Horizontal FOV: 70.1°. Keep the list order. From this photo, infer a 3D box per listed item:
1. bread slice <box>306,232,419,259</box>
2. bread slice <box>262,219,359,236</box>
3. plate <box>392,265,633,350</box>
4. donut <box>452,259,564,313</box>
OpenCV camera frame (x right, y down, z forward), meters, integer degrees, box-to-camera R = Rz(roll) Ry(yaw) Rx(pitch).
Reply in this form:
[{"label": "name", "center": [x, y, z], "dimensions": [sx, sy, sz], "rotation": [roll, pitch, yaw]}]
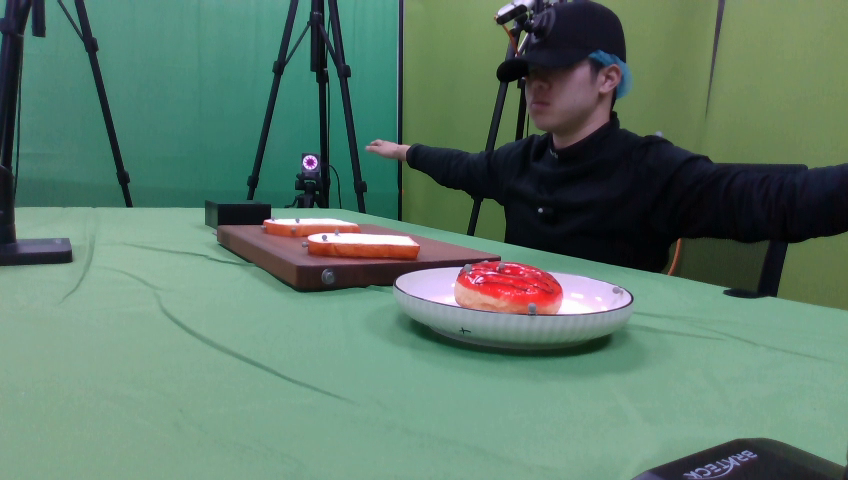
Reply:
[{"label": "bread slice", "center": [-0.077, 0.006, 0.747], "dimensions": [0.135, 0.018, 0.106], "rotation": [2, 7, -12]}, {"label": "bread slice", "center": [-0.179, -0.021, 0.931], "dimensions": [0.132, 0.019, 0.104], "rotation": [-1, 7, -35]}, {"label": "plate", "center": [0.074, 0.056, 0.533], "dimensions": [0.209, 0.038, 0.209], "rotation": [3, 7, 0]}, {"label": "donut", "center": [0.074, 0.045, 0.536], "dimensions": [0.099, 0.048, 0.099], "rotation": [4, 8, 0]}]
